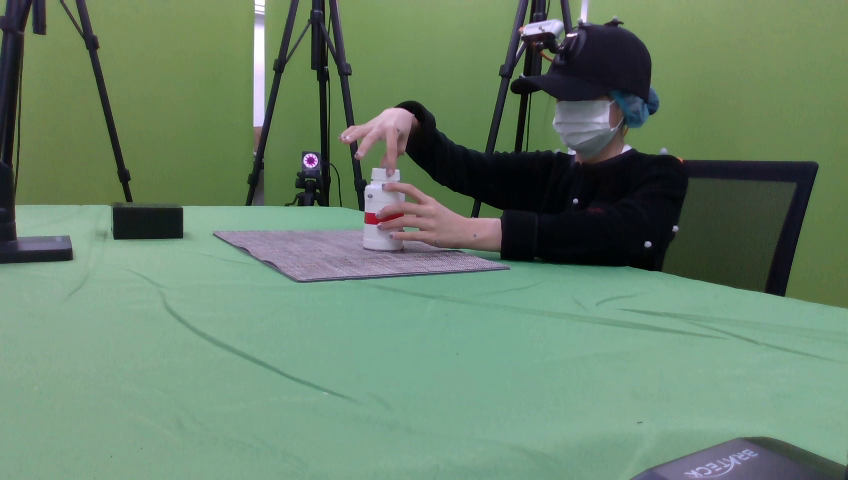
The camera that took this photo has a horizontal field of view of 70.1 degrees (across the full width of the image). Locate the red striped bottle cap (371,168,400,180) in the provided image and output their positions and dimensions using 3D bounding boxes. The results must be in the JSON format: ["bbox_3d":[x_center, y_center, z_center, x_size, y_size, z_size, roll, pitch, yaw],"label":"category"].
[{"bbox_3d":[-0.059,-0.100,0.925,0.044,0.017,0.044,3,6,0],"label":"red striped bottle cap"}]

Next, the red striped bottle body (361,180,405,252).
[{"bbox_3d":[-0.063,-0.044,0.933,0.063,0.119,0.063,4,8,0],"label":"red striped bottle body"}]
